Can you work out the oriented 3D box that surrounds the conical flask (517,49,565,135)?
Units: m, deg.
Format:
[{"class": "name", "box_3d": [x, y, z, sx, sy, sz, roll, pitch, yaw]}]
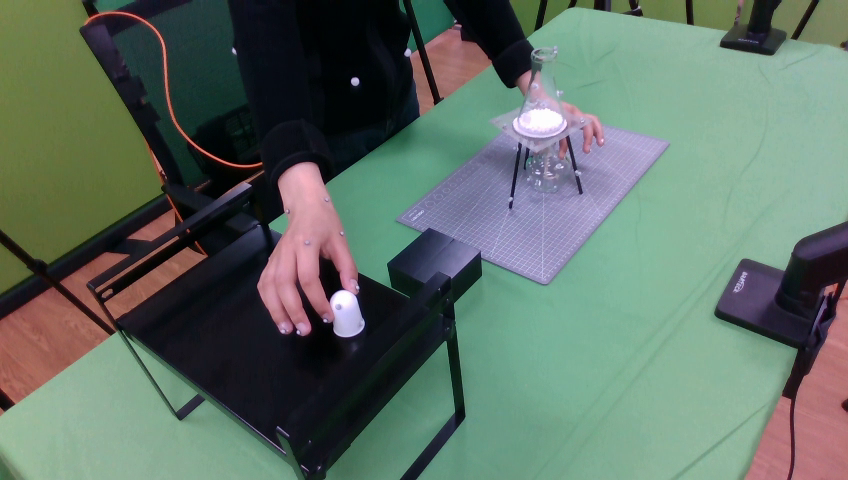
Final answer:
[{"class": "conical flask", "box_3d": [0.183, -0.231, 0.936, 0.075, 0.122, 0.075, -4, 40, 4]}]

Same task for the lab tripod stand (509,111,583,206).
[{"class": "lab tripod stand", "box_3d": [0.198, -0.139, 1.020, 0.148, 0.132, 0.147, -3, 38, 3]}]

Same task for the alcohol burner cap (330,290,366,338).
[{"class": "alcohol burner cap", "box_3d": [-0.077, 0.071, 0.603, 0.034, 0.048, 0.033, -3, 39, 3]}]

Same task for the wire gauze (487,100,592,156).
[{"class": "wire gauze", "box_3d": [0.185, -0.187, 0.974, 0.122, 0.011, 0.124, -28, 47, -22]}]

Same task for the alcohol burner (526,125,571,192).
[{"class": "alcohol burner", "box_3d": [0.214, -0.143, 1.036, 0.078, 0.119, 0.077, -5, 39, 5]}]
